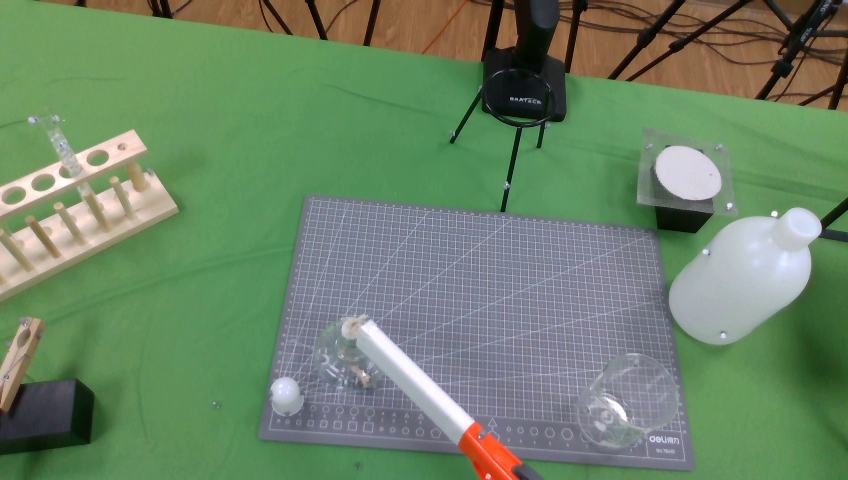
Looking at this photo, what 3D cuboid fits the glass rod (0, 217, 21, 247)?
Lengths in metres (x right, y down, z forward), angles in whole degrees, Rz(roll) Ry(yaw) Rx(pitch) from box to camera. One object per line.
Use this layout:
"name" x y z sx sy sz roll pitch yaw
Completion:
"glass rod" -0.436 -0.055 0.592 0.008 0.201 0.008 5 50 -5

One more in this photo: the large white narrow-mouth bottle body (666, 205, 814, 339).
"large white narrow-mouth bottle body" 0.344 0.028 0.651 0.102 0.196 0.101 3 59 -4

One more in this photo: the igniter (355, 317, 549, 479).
"igniter" 0.042 0.163 0.495 0.274 0.057 0.025 40 50 21

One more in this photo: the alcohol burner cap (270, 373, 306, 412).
"alcohol burner cap" -0.138 0.151 0.608 0.034 0.048 0.033 2 61 -3

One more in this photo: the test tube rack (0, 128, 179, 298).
"test tube rack" -0.404 -0.023 0.654 0.242 0.086 0.066 -32 68 -22

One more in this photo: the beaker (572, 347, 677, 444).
"beaker" 0.193 0.160 0.608 0.084 0.101 0.073 3 59 -4

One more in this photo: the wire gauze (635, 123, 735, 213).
"wire gauze" 0.330 -0.092 0.770 0.121 0.011 0.124 12 59 1

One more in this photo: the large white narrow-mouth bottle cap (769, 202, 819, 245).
"large white narrow-mouth bottle cap" 0.352 -0.016 0.578 0.038 0.024 0.037 3 59 -4

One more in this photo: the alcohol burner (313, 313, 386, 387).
"alcohol burner" -0.072 0.103 0.602 0.078 0.120 0.077 4 59 -6

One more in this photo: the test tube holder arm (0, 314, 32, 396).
"test tube holder arm" -0.386 0.149 0.540 0.013 0.015 0.177 8 59 -2

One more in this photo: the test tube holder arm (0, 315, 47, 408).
"test tube holder arm" -0.376 0.112 0.564 0.010 0.015 0.087 9 58 -2

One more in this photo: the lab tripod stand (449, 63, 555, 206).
"lab tripod stand" 0.104 -0.137 0.754 0.148 0.132 0.147 4 61 -6

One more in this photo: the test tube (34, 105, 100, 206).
"test tube" -0.371 -0.082 0.635 0.017 0.151 0.017 4 57 -6
